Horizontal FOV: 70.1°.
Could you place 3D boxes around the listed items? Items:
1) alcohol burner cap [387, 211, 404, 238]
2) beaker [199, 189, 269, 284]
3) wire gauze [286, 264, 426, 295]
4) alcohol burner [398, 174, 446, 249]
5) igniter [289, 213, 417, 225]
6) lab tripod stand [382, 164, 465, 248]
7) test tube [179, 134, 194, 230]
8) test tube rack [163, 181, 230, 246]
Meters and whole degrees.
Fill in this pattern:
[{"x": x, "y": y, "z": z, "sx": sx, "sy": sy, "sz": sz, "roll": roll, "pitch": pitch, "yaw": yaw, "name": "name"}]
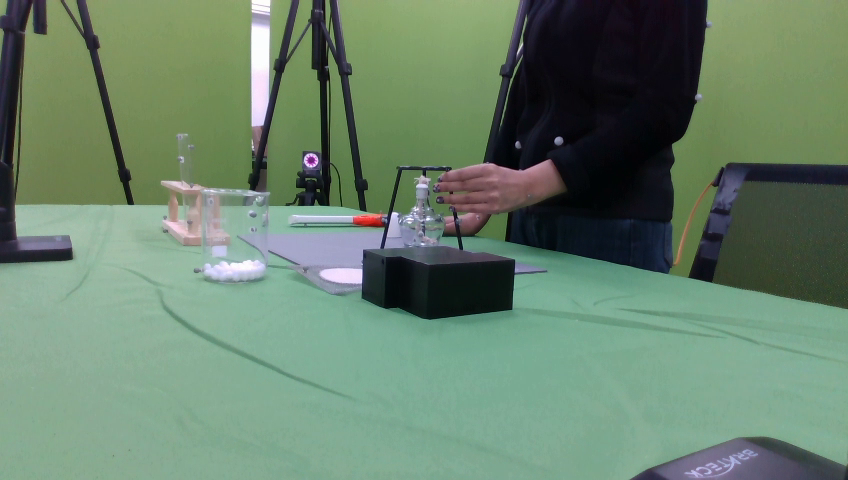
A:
[{"x": -0.053, "y": -0.029, "z": 1.107, "sx": 0.034, "sy": 0.048, "sz": 0.034, "roll": 2, "pitch": 9, "yaw": 0, "name": "alcohol burner cap"}, {"x": -0.209, "y": -0.006, "z": 0.676, "sx": 0.073, "sy": 0.100, "sz": 0.084, "roll": 7, "pitch": 8, "yaw": 28, "name": "beaker"}, {"x": -0.079, "y": 0.039, "z": 0.692, "sx": 0.122, "sy": 0.011, "sz": 0.124, "roll": -4, "pitch": 11, "yaw": -37, "name": "wire gauze"}, {"x": -0.003, "y": -0.046, "z": 0.973, "sx": 0.078, "sy": 0.119, "sz": 0.078, "roll": 0, "pitch": 7, "yaw": 0, "name": "alcohol burner"}, {"x": -0.144, "y": -0.044, "z": 1.275, "sx": 0.278, "sy": 0.025, "sz": 0.057, "roll": -1, "pitch": -2, "yaw": -27, "name": "igniter"}, {"x": -0.002, "y": -0.056, "z": 0.966, "sx": 0.148, "sy": 0.131, "sz": 0.148, "roll": 1, "pitch": 9, "yaw": 0, "name": "lab tripod stand"}, {"x": -0.366, "y": -0.089, "z": 0.938, "sx": 0.017, "sy": 0.150, "sz": 0.017, "roll": -1, "pitch": 9, "yaw": 1, "name": "test tube"}, {"x": -0.387, "y": -0.050, "z": 1.015, "sx": 0.067, "sy": 0.085, "sz": 0.241, "roll": -2, "pitch": 9, "yaw": -30, "name": "test tube rack"}]
